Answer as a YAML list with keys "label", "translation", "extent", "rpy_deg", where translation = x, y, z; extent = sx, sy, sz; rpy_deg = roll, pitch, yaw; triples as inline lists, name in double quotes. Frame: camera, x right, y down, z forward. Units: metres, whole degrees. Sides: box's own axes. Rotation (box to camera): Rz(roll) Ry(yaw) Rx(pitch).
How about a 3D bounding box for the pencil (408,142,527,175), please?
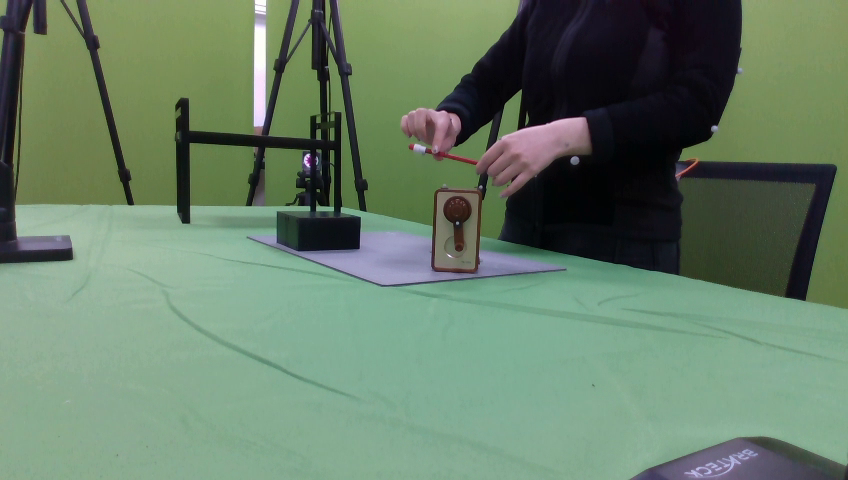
- label: "pencil"
  translation: [0.066, -0.126, 0.944]
  extent: [0.194, 0.012, 0.012]
  rpy_deg: [16, 11, 12]

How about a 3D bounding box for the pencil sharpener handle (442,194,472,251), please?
- label: "pencil sharpener handle"
  translation: [0.041, -0.021, 0.731]
  extent: [0.036, 0.067, 0.030]
  rpy_deg: [-4, 7, 4]

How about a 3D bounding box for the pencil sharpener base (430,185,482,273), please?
- label: "pencil sharpener base"
  translation: [0.042, -0.016, 0.784]
  extent: [0.061, 0.107, 0.076]
  rpy_deg: [3, 8, 3]
